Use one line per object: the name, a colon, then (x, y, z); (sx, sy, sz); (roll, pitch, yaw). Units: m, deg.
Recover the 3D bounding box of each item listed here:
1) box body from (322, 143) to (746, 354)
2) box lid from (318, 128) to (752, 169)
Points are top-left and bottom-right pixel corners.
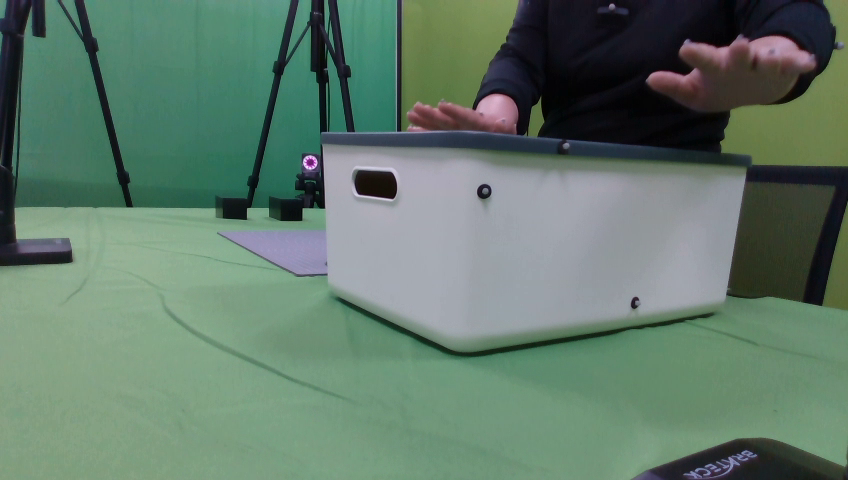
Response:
box body: (0.106, -0.012, 0.603); (0.366, 0.160, 0.253); (-2, 8, -34)
box lid: (0.107, -0.085, 0.594); (0.373, 0.015, 0.262); (-1, 8, -34)
